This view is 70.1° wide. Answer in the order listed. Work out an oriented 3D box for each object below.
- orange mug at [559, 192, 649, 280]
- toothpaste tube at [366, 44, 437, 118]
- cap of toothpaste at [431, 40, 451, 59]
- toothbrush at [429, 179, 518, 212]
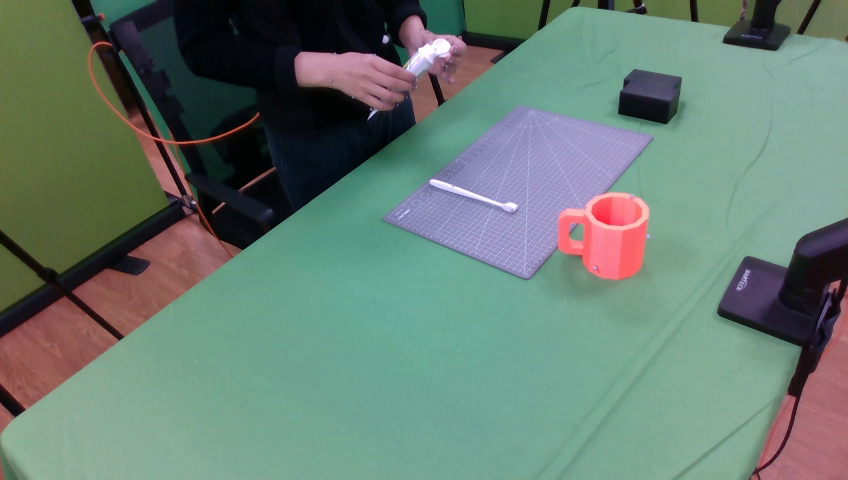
[{"bbox_3d":[0.261,-0.008,0.884,0.126,0.101,0.083,9,43,14],"label":"orange mug"},{"bbox_3d":[-0.040,-0.272,1.032,0.165,0.035,0.055,-41,15,16],"label":"toothpaste tube"},{"bbox_3d":[0.029,-0.327,1.031,0.037,0.011,0.037,3,72,-10],"label":"cap of toothpaste"},{"bbox_3d":[0.084,-0.081,1.062,0.180,0.014,0.017,20,44,30],"label":"toothbrush"}]
